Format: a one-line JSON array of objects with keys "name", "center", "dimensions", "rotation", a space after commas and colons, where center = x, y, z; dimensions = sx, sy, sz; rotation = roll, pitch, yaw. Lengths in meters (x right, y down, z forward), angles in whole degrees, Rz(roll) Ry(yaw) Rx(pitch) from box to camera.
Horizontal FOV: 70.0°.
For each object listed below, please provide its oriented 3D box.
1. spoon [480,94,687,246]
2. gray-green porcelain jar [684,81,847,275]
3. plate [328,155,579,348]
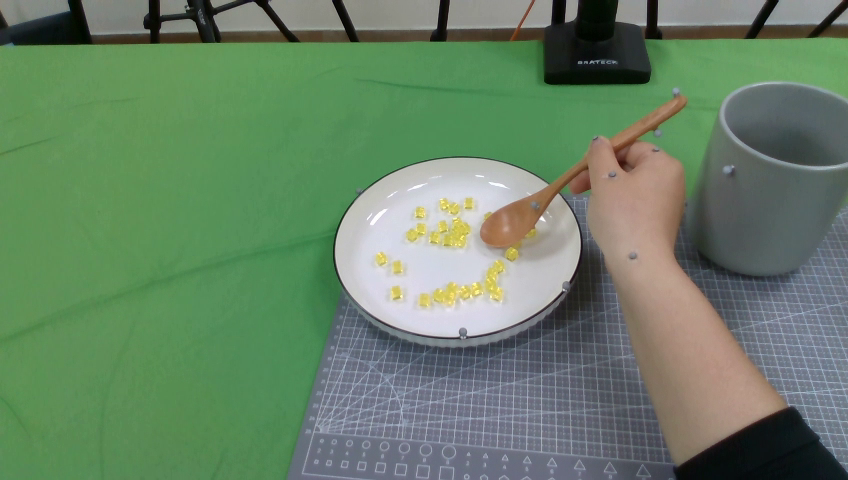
[{"name": "spoon", "center": [0.122, -0.053, 0.486], "dimensions": [0.194, 0.022, 0.041], "rotation": [-39, 43, 30]}, {"name": "gray-green porcelain jar", "center": [0.270, -0.043, 0.479], "dimensions": [0.106, 0.128, 0.105], "rotation": [-3, 48, 4]}, {"name": "plate", "center": [0.024, 0.008, 0.517], "dimensions": [0.207, 0.039, 0.205], "rotation": [-2, 48, 3]}]
